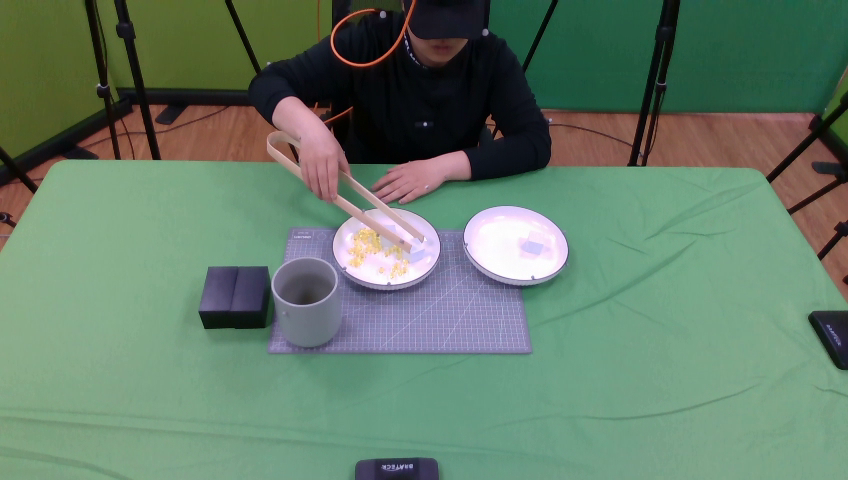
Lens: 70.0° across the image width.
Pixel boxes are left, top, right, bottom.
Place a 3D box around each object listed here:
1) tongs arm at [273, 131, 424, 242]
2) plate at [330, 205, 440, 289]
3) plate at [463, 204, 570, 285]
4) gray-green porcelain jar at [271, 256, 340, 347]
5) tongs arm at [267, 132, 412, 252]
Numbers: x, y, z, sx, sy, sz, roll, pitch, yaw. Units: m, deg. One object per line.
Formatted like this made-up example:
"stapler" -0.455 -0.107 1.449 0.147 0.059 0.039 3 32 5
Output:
"tongs arm" -0.153 -0.111 1.199 0.386 0.028 0.028 36 56 16
"plate" -0.074 0.017 1.160 0.208 0.039 0.206 2 46 -2
"plate" 0.178 0.012 1.184 0.209 0.038 0.208 3 46 -3
"gray-green porcelain jar" -0.193 0.107 1.004 0.106 0.127 0.105 2 46 -2
"tongs arm" -0.169 -0.098 1.184 0.384 0.026 0.050 33 51 14
